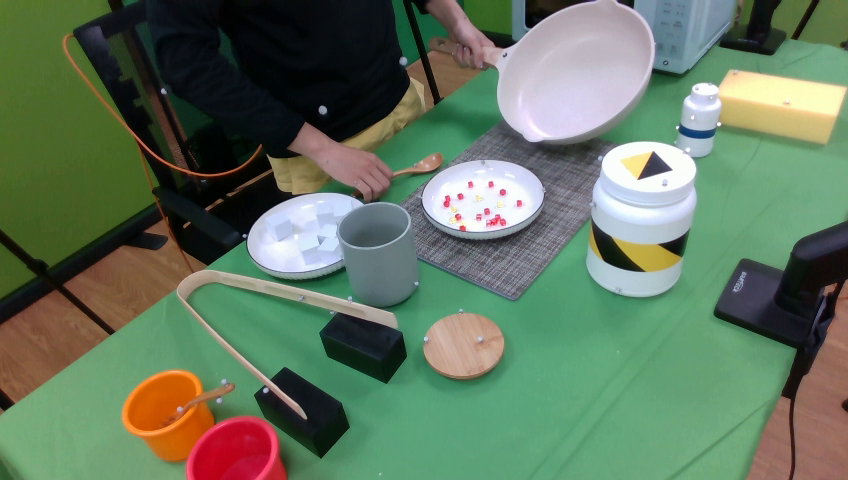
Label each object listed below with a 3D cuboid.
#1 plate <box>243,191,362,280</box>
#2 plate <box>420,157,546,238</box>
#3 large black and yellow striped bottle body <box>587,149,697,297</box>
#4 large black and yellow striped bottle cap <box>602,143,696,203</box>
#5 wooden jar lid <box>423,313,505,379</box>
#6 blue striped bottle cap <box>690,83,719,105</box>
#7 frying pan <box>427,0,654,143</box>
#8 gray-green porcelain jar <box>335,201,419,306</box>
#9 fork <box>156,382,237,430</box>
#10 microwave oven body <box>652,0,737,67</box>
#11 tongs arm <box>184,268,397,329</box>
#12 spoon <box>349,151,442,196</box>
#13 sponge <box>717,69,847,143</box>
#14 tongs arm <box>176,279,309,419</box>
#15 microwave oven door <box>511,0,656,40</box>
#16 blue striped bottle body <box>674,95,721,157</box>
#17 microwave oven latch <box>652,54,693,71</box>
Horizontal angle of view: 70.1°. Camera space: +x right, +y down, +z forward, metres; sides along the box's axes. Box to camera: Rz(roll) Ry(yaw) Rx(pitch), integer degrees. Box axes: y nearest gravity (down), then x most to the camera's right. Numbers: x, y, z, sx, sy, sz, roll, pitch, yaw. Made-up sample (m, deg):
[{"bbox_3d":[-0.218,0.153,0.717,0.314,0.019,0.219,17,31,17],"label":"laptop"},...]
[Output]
[{"bbox_3d":[-0.187,-0.005,0.992,0.207,0.039,0.206,-4,41,4],"label":"plate"},{"bbox_3d":[0.099,-0.067,1.017,0.209,0.038,0.208,-4,40,4],"label":"plate"},{"bbox_3d":[0.298,-0.026,0.834,0.131,0.185,0.130,-4,41,4],"label":"large black and yellow striped bottle body"},{"bbox_3d":[0.289,-0.088,0.778,0.115,0.019,0.114,-4,39,4],"label":"large black and yellow striped bottle cap"},{"bbox_3d":[0.053,0.142,0.800,0.108,0.021,0.108,-5,39,4],"label":"wooden jar lid"},{"bbox_3d":[0.481,-0.251,1.038,0.044,0.021,0.044,-5,39,5],"label":"blue striped bottle cap"},{"bbox_3d":[0.199,-0.342,1.169,0.484,0.103,0.306,27,83,30],"label":"frying pan"},{"bbox_3d":[-0.064,0.024,0.872,0.106,0.127,0.105,-4,41,4],"label":"gray-green porcelain jar"},{"bbox_3d":[-0.262,0.189,0.690,0.018,0.206,0.028,49,43,-7],"label":"fork"},{"bbox_3d":[0.475,-0.602,1.411,0.438,0.261,0.327,23,50,32],"label":"microwave oven body"},{"bbox_3d":[-0.202,0.084,0.848,0.382,0.027,0.051,11,45,35],"label":"tongs arm"},{"bbox_3d":[-0.052,-0.124,1.122,0.194,0.022,0.041,-22,43,-17],"label":"spoon"},{"bbox_3d":[0.663,-0.256,1.142,0.205,0.061,0.118,19,47,28],"label":"sponge"},{"bbox_3d":[-0.254,0.133,0.801,0.028,0.028,0.384,-41,40,-23],"label":"tongs arm"},{"bbox_3d":[0.351,-0.539,1.349,0.353,0.245,0.039,24,50,31],"label":"microwave oven door"},{"bbox_3d":[0.486,-0.213,1.071,0.063,0.121,0.063,-4,41,4],"label":"blue striped bottle body"},{"bbox_3d":[0.533,-0.387,1.302,0.078,0.029,0.030,29,53,35],"label":"microwave oven latch"}]
